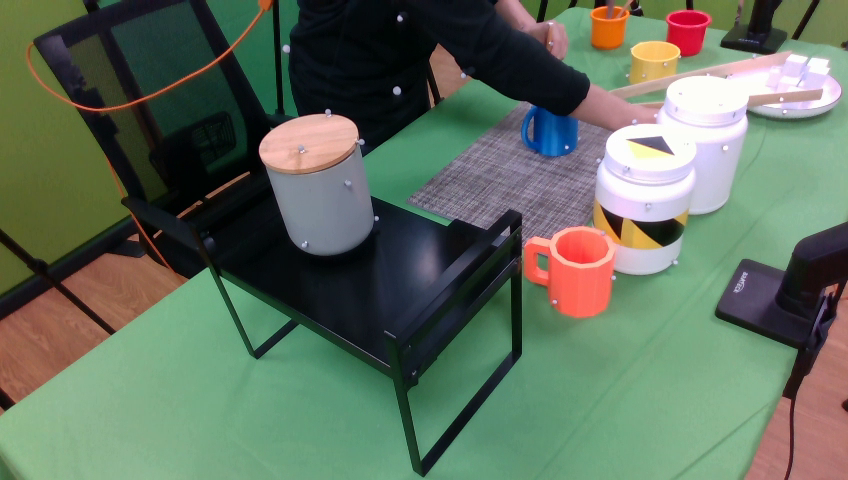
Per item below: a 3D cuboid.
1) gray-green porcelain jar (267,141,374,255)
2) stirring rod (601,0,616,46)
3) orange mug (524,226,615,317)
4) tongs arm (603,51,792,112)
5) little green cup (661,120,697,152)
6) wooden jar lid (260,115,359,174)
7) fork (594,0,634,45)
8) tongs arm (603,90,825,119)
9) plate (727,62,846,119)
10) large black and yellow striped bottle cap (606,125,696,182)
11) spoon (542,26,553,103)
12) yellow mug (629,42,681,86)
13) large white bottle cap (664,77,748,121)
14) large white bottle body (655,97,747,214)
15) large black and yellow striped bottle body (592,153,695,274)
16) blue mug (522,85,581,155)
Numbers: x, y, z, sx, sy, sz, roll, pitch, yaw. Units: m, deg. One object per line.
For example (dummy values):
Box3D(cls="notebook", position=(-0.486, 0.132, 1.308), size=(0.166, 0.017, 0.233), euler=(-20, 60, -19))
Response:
Box3D(cls="gray-green porcelain jar", position=(-0.117, -0.054, 0.703), size=(0.106, 0.127, 0.105), euler=(-4, 40, 4))
Box3D(cls="stirring rod", position=(0.452, -0.554, 1.464), size=(0.014, 0.006, 0.176), euler=(11, 86, 15))
Box3D(cls="orange mug", position=(0.201, 0.039, 0.845), size=(0.125, 0.101, 0.083), euler=(18, 46, 21))
Box3D(cls="tongs arm", position=(0.552, -0.319, 1.224), size=(0.384, 0.027, 0.050), euler=(-11, 44, 7))
Box3D(cls="little green cup", position=(0.467, -0.192, 1.115), size=(0.061, 0.039, 0.061), euler=(-2, 37, 2))
Box3D(cls="wooden jar lid", position=(-0.124, -0.101, 0.662), size=(0.108, 0.021, 0.108), euler=(-4, 41, 4))
Box3D(cls="fork", position=(0.484, -0.552, 1.447), size=(0.207, 0.019, 0.028), euler=(-51, 47, 17))
Box3D(cls="tongs arm", position=(0.546, -0.262, 1.163), size=(0.386, 0.028, 0.028), euler=(-1, 50, 18))
Box3D(cls="plate", position=(0.710, -0.292, 1.198), size=(0.207, 0.039, 0.206), euler=(-4, 40, 4))
Box3D(cls="large black and yellow striped bottle cap", position=(0.305, -0.119, 0.816), size=(0.115, 0.019, 0.114), euler=(-5, 41, 5))
Box3D(cls="spoon", position=(0.223, -0.289, 1.103), size=(0.021, 0.194, 0.041), euler=(7, 32, 22))
Box3D(cls="yellow mug", position=(0.495, -0.389, 1.321), size=(0.100, 0.064, 0.130), euler=(-14, 40, -6))
Box3D(cls="large white bottle cap", position=(0.421, -0.212, 0.905), size=(0.115, 0.018, 0.114), euler=(-4, 40, 4))
Box3D(cls="large white bottle body", position=(0.431, -0.148, 0.959), size=(0.130, 0.185, 0.130), euler=(-4, 41, 4))
Box3D(cls="large black and yellow striped bottle body", position=(0.313, -0.056, 0.872), size=(0.131, 0.185, 0.130), euler=(-4, 41, 4))
Box3D(cls="blue mug", position=(0.234, -0.219, 1.127), size=(0.117, 0.106, 0.081), euler=(-21, 42, -15))
